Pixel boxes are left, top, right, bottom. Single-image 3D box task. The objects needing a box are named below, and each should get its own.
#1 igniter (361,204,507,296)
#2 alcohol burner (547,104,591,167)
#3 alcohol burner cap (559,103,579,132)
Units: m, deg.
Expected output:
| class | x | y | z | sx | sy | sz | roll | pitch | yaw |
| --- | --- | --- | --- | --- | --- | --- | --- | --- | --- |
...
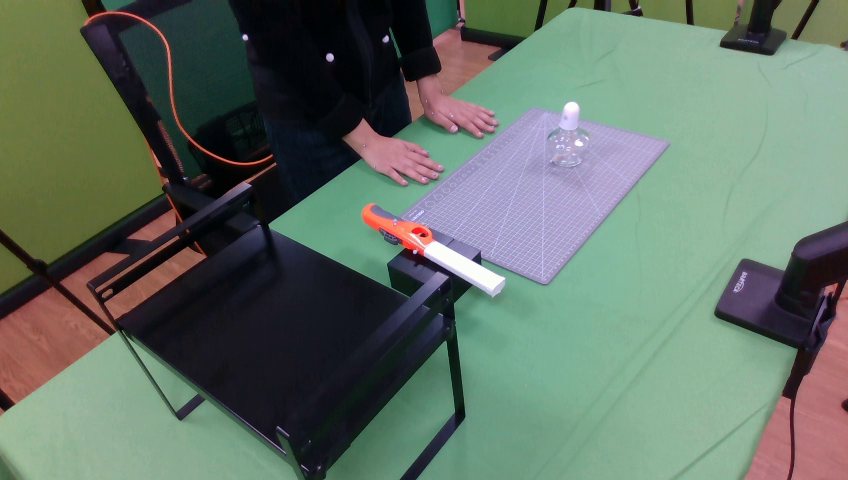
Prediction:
| class | x | y | z | sx | sy | sz | roll | pitch | yaw |
| --- | --- | --- | --- | --- | --- | --- | --- | --- | --- |
| igniter | 0.003 | 0.008 | 0.889 | 0.274 | 0.025 | 0.057 | 29 | 49 | 33 |
| alcohol burner | 0.261 | -0.192 | 1.087 | 0.078 | 0.119 | 0.077 | -5 | 42 | 5 |
| alcohol burner cap | 0.256 | -0.219 | 1.063 | 0.034 | 0.048 | 0.033 | 0 | 43 | 0 |
